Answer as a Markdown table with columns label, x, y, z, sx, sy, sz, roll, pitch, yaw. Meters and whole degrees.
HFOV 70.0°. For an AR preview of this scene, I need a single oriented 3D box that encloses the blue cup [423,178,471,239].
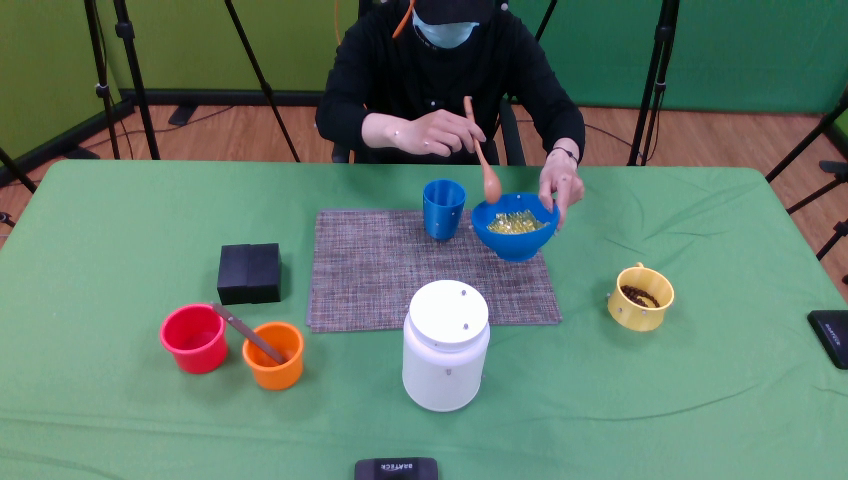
| label | x | y | z | sx | sy | sz | roll | pitch | yaw |
| --- | --- | --- | --- | --- | --- | --- | --- | --- | --- |
| blue cup | 0.036 | -0.056 | 1.192 | 0.093 | 0.101 | 0.092 | 3 | 45 | -3 |

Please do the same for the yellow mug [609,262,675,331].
| label | x | y | z | sx | sy | sz | roll | pitch | yaw |
| --- | --- | --- | --- | --- | --- | --- | --- | --- | --- |
| yellow mug | 0.393 | 0.094 | 1.103 | 0.100 | 0.064 | 0.130 | 7 | 45 | 3 |

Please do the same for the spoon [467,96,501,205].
| label | x | y | z | sx | sy | sz | roll | pitch | yaw |
| --- | --- | --- | --- | --- | --- | --- | --- | --- | --- |
| spoon | 0.099 | -0.155 | 1.053 | 0.042 | 0.021 | 0.193 | -16 | 90 | -37 |

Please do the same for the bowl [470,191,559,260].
| label | x | y | z | sx | sy | sz | roll | pitch | yaw |
| --- | --- | --- | --- | --- | --- | --- | --- | --- | --- |
| bowl | 0.157 | -0.017 | 1.045 | 0.151 | 0.077 | 0.150 | -7 | 30 | 4 |

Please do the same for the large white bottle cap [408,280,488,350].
| label | x | y | z | sx | sy | sz | roll | pitch | yaw |
| --- | --- | --- | --- | --- | --- | --- | --- | --- | --- |
| large white bottle cap | 0.034 | 0.105 | 0.866 | 0.115 | 0.018 | 0.114 | 2 | 46 | -1 |

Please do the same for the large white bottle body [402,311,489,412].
| label | x | y | z | sx | sy | sz | roll | pitch | yaw |
| --- | --- | --- | --- | --- | --- | --- | --- | --- | --- |
| large white bottle body | 0.031 | 0.163 | 0.928 | 0.131 | 0.185 | 0.130 | 2 | 46 | -1 |

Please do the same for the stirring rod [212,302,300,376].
| label | x | y | z | sx | sy | sz | roll | pitch | yaw |
| --- | --- | --- | --- | --- | --- | --- | --- | --- | --- |
| stirring rod | -0.261 | 0.156 | 0.948 | 0.177 | 0.006 | 0.014 | 45 | 45 | -20 |
